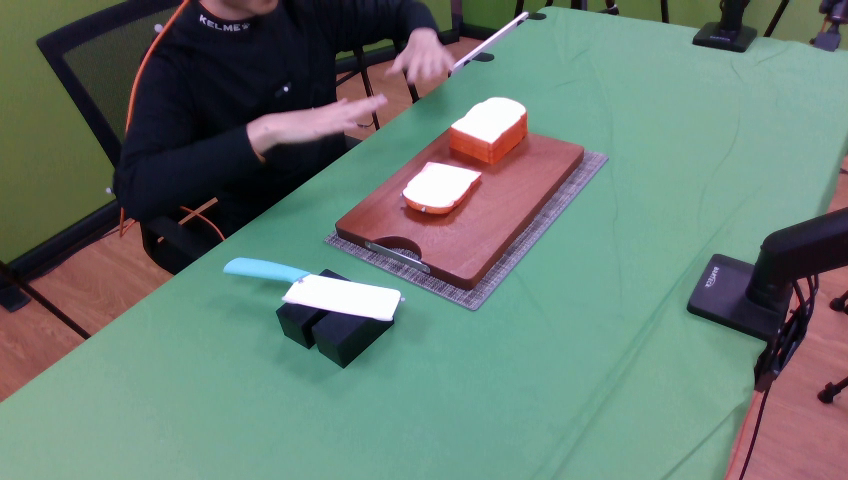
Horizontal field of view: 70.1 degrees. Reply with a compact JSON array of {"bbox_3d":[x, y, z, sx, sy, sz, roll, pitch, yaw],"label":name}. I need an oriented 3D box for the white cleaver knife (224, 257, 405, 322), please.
[{"bbox_3d":[-0.165,0.066,0.851,0.285,0.021,0.066,9,43,21],"label":"white cleaver knife"}]

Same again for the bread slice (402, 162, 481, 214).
[{"bbox_3d":[0.024,-0.088,1.021,0.104,0.019,0.132,16,41,22],"label":"bread slice"}]

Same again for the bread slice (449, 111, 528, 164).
[{"bbox_3d":[0.130,-0.197,1.133,0.135,0.018,0.106,-37,51,-25],"label":"bread slice"}]
